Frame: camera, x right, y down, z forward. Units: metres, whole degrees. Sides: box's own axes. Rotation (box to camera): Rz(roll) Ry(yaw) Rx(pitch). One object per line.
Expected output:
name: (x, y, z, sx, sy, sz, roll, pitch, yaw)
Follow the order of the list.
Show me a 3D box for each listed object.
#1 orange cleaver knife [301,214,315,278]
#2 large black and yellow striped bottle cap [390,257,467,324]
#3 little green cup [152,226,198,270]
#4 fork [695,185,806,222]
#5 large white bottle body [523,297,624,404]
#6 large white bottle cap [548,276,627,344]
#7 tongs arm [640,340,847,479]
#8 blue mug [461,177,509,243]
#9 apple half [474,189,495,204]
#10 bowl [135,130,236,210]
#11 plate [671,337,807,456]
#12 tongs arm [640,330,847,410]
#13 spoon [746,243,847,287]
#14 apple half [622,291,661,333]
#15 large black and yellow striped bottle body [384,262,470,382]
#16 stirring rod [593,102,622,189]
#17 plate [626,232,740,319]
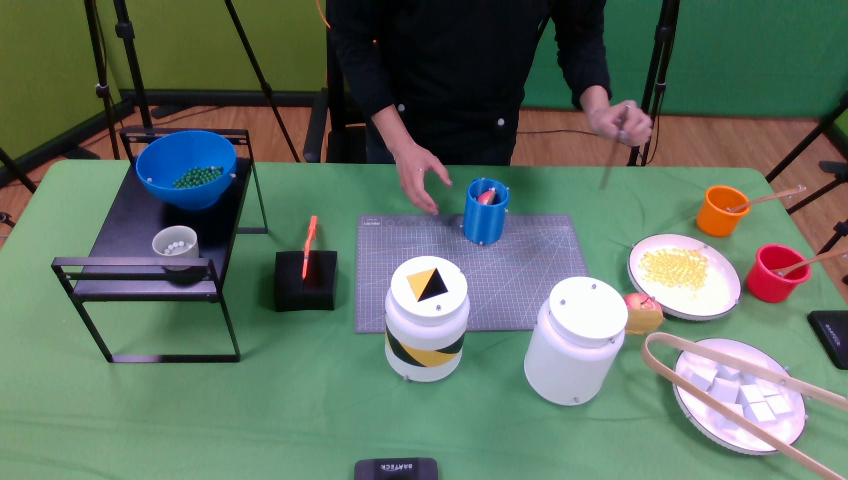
orange cleaver knife: (-0.218, 0.007, 1.131, 0.012, 0.077, 0.210, 7, 19, -9)
large black and yellow striped bottle cap: (0.007, 0.072, 0.898, 0.115, 0.019, 0.114, 2, 47, -2)
little green cup: (-0.364, 0.013, 0.894, 0.061, 0.039, 0.061, 3, 46, -3)
fork: (0.658, -0.074, 1.229, 0.207, 0.019, 0.028, -23, 34, 37)
large white bottle body: (0.235, 0.159, 0.952, 0.131, 0.185, 0.130, 2, 47, -2)
large white bottle cap: (0.240, 0.100, 0.890, 0.115, 0.018, 0.114, 3, 47, -3)
tongs arm: (0.500, 0.277, 0.919, 0.386, 0.028, 0.028, 34, 59, 22)
blue mug: (0.114, -0.070, 1.211, 0.082, 0.106, 0.115, -12, 48, -15)
apple half: (0.110, -0.067, 1.200, 0.033, 0.081, 0.081, 27, 50, 11)
bowl: (-0.375, -0.102, 0.978, 0.151, 0.077, 0.150, 3, 46, -2)
plate: (0.504, 0.254, 0.984, 0.208, 0.039, 0.206, 2, 46, -2)
tongs arm: (0.543, 0.225, 0.969, 0.384, 0.026, 0.050, 22, 52, 13)
spoon: (0.702, 0.044, 1.126, 0.194, 0.022, 0.041, -29, 38, 30)
apple half: (0.372, 0.124, 1.074, 0.081, 0.075, 0.053, 0, 42, 1)
large black and yellow striped bottle body: (0.002, 0.127, 0.962, 0.131, 0.185, 0.130, 2, 48, -2)
stirring rod: (0.322, -0.163, 1.068, 0.006, 0.177, 0.014, 17, 44, 13)
plate: (0.488, 0.071, 1.157, 0.209, 0.038, 0.208, 3, 46, -3)
